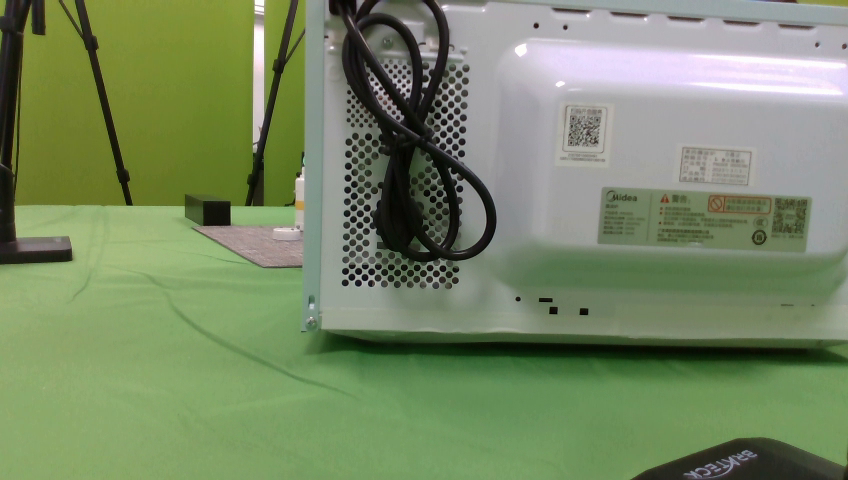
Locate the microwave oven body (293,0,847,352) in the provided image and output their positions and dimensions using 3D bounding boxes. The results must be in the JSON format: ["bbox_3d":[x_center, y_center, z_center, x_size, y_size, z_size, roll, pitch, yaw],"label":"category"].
[{"bbox_3d":[0.122,-0.055,0.550,0.442,0.260,0.325,3,6,-5],"label":"microwave oven body"}]

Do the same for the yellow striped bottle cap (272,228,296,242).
[{"bbox_3d":[-0.232,-0.008,1.011,0.044,0.018,0.044,4,8,0],"label":"yellow striped bottle cap"}]

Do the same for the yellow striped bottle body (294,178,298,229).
[{"bbox_3d":[-0.213,-0.078,1.142,0.063,0.120,0.063,2,8,0],"label":"yellow striped bottle body"}]

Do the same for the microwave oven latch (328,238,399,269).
[{"bbox_3d":[-0.069,0.015,0.694,0.079,0.029,0.030,3,6,-3],"label":"microwave oven latch"}]

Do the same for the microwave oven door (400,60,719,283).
[{"bbox_3d":[0.154,-0.079,0.709,0.356,0.243,0.039,2,8,-1],"label":"microwave oven door"}]
